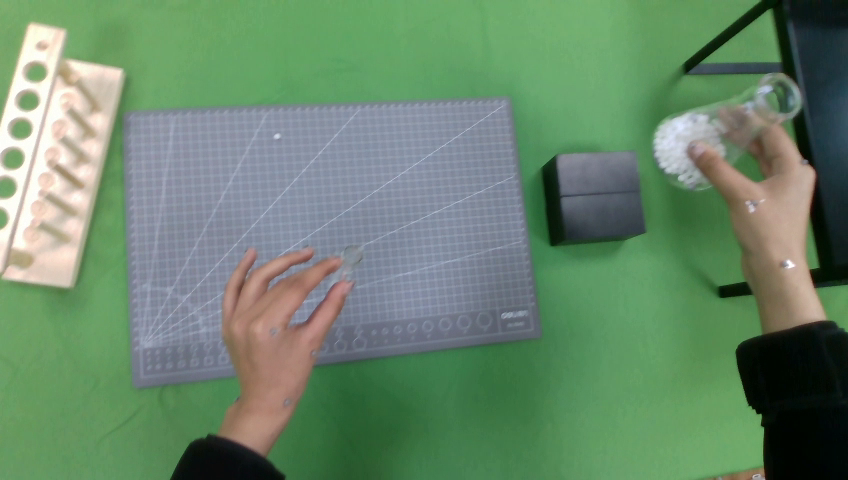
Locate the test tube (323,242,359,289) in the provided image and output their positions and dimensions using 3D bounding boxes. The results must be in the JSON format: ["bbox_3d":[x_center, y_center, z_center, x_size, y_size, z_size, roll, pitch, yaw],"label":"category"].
[{"bbox_3d":[-0.075,0.026,0.532,0.017,0.150,0.017,3,76,-14],"label":"test tube"}]

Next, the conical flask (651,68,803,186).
[{"bbox_3d":[0.252,-0.096,0.503,0.075,0.122,0.075,3,77,-12],"label":"conical flask"}]

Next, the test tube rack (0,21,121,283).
[{"bbox_3d":[-0.380,-0.084,0.612,0.067,0.085,0.241,9,79,-9],"label":"test tube rack"}]
